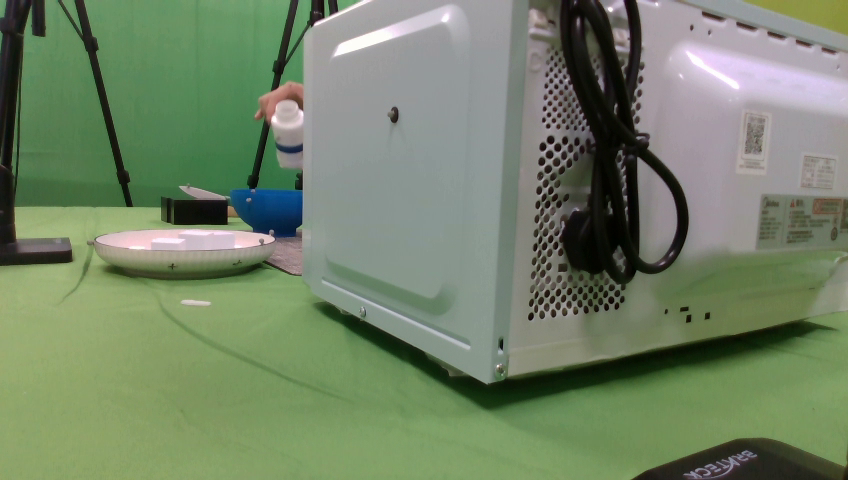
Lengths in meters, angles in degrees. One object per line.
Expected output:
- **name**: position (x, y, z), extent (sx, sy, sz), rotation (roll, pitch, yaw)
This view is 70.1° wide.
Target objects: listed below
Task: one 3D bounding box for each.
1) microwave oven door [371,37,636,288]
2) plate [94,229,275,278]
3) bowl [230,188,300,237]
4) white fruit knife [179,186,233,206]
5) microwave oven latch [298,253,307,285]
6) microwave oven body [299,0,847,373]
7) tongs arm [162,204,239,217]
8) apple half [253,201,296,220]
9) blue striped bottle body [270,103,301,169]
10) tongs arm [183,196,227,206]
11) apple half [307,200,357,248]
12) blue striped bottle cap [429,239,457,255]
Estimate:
- **microwave oven door**: position (0.109, -0.080, 0.686), extent (0.358, 0.243, 0.039), rotation (-2, 9, -33)
- **plate**: position (-0.291, 0.016, 0.750), extent (0.208, 0.039, 0.207), rotation (2, 7, 0)
- **bowl**: position (-0.264, -0.048, 1.065), extent (0.151, 0.077, 0.151), rotation (3, 8, 0)
- **white fruit knife**: position (-0.413, -0.081, 1.270), extent (0.208, 0.027, 0.016), rotation (17, 13, -41)
- **microwave oven latch**: position (-0.081, 0.027, 0.582), extent (0.079, 0.029, 0.030), rotation (-2, 7, -32)
- **microwave oven body**: position (0.152, -0.055, 0.542), extent (0.444, 0.260, 0.324), rotation (-2, 7, -33)
- **tongs arm**: position (-0.396, -0.066, 1.399), extent (0.389, 0.028, 0.028), rotation (1, 5, -15)
- **apple half**: position (-0.264, -0.053, 1.067), extent (0.081, 0.033, 0.081), rotation (2, 9, 0)
- **blue striped bottle body**: position (-0.249, -0.195, 1.123), extent (0.063, 0.121, 0.063), rotation (2, 51, -2)
- **tongs arm**: position (-0.404, -0.081, 1.479), extent (0.385, 0.026, 0.050), rotation (3, 8, -2)
- **apple half**: position (-0.135, -0.024, 0.941), extent (0.053, 0.074, 0.081), rotation (13, 9, 39)
- **blue striped bottle cap**: position (0.029, 0.011, 0.946), extent (0.044, 0.020, 0.044), rotation (1, 5, 0)
